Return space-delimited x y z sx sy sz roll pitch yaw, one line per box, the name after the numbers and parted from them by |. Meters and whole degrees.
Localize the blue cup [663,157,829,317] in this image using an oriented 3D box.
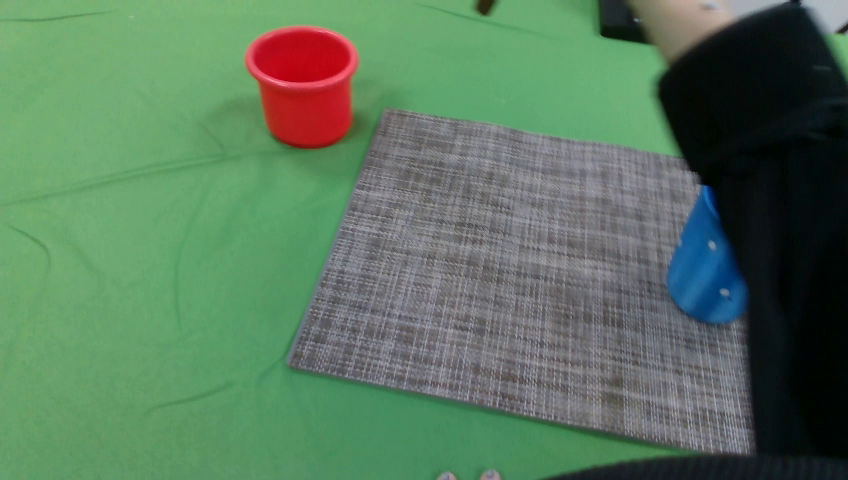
0.224 0.005 0.446 0.093 0.101 0.091 4 50 -4 | blue cup

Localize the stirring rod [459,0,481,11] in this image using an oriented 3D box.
0.062 -0.207 0.356 0.014 0.177 0.006 35 52 -2 | stirring rod
